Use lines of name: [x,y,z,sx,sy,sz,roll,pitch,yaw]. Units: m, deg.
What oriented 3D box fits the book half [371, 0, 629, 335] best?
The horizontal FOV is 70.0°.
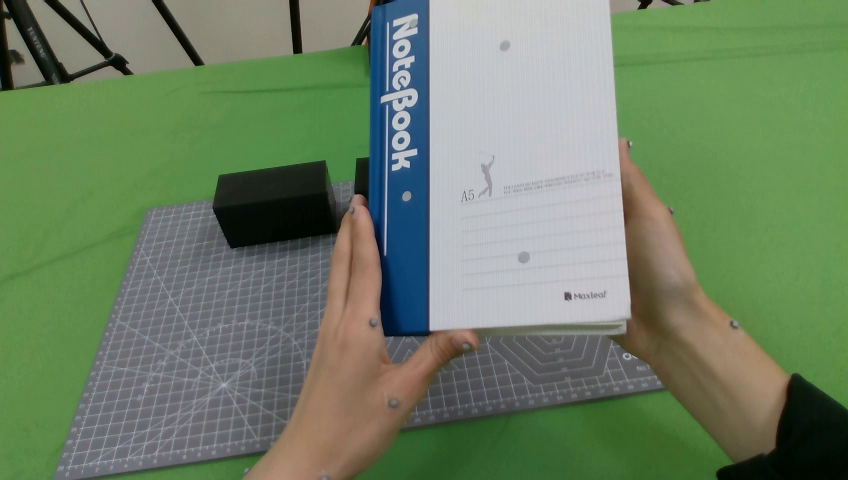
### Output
book half: [0.032,-0.056,0.333,0.142,0.007,0.209,-7,75,28]
